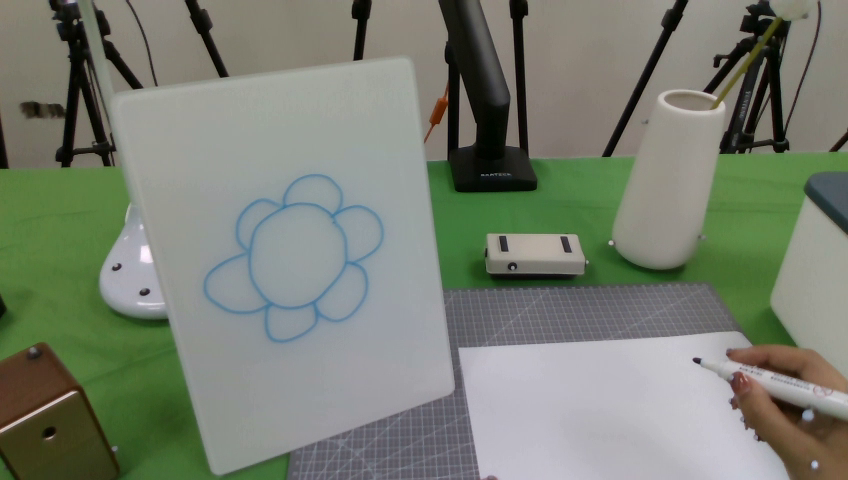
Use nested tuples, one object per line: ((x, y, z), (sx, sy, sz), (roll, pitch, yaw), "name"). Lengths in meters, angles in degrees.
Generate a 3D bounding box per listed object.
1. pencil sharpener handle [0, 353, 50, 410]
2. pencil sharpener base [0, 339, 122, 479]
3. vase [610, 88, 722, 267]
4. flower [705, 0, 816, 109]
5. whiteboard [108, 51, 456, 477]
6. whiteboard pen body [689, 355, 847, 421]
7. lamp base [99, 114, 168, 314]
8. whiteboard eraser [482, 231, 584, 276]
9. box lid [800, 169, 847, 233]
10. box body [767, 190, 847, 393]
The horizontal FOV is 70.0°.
((-0.326, 0.110, 0.486), (0.030, 0.068, 0.036), (29, 52, 34), "pencil sharpener handle")
((-0.290, 0.141, 0.464), (0.076, 0.108, 0.061), (29, 44, 34), "pencil sharpener base")
((0.278, -0.067, 0.692), (0.098, 0.201, 0.097), (1, 35, -1), "vase")
((0.290, -0.126, 0.633), (0.044, 0.364, 0.038), (-16, 55, -32), "flower")
((-0.113, 0.007, 0.538), (0.218, 0.307, 0.142), (-14, 19, -18), "whiteboard")
((0.228, 0.092, 0.376), (0.017, 0.017, 0.139), (-22, 19, -29), "whiteboard pen body")
((-0.293, -0.038, 0.655), (0.177, 0.182, 0.160), (23, 41, 32), "lamp base")
((0.126, 0.016, 0.708), (0.113, 0.042, 0.055), (-1, 33, -1), "whiteboard eraser")
((0.493, 0.038, 0.449), (0.263, 0.015, 0.368), (0, 34, -2), "box lid")
((0.494, 0.098, 0.495), (0.254, 0.162, 0.360), (-1, 35, -2), "box body")
